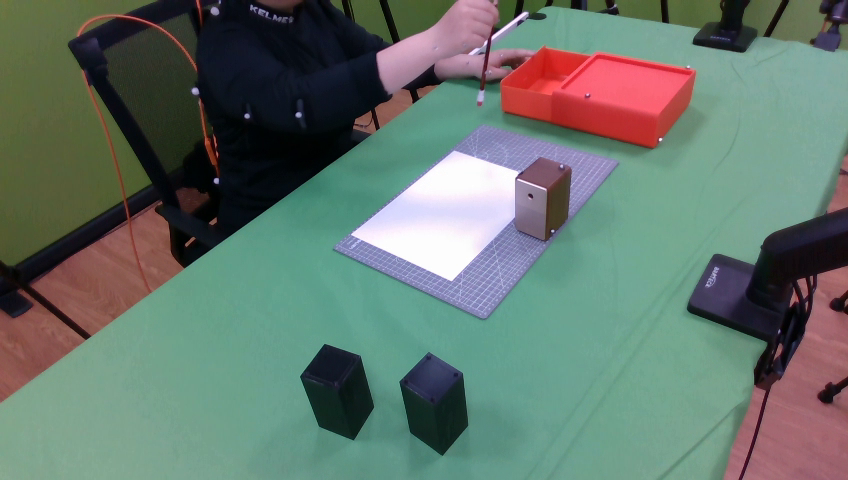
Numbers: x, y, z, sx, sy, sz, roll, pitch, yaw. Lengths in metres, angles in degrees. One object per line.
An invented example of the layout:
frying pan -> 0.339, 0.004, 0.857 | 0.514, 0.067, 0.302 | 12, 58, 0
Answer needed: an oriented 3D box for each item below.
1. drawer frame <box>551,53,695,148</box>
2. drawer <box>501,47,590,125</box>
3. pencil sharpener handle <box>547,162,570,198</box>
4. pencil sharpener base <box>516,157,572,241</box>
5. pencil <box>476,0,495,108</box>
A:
drawer frame -> 0.390, -0.281, 1.196 | 0.212, 0.083, 0.202 | 22, 48, 30
drawer -> 0.296, -0.316, 1.256 | 0.210, 0.073, 0.195 | 21, 48, 29
pencil sharpener handle -> 0.221, -0.101, 0.968 | 0.035, 0.068, 0.031 | 20, 47, 37
pencil sharpener base -> 0.189, -0.065, 0.948 | 0.061, 0.107, 0.077 | 24, 49, 33
pencil -> 0.109, -0.325, 1.059 | 0.012, 0.194, 0.012 | 4, 34, -2
